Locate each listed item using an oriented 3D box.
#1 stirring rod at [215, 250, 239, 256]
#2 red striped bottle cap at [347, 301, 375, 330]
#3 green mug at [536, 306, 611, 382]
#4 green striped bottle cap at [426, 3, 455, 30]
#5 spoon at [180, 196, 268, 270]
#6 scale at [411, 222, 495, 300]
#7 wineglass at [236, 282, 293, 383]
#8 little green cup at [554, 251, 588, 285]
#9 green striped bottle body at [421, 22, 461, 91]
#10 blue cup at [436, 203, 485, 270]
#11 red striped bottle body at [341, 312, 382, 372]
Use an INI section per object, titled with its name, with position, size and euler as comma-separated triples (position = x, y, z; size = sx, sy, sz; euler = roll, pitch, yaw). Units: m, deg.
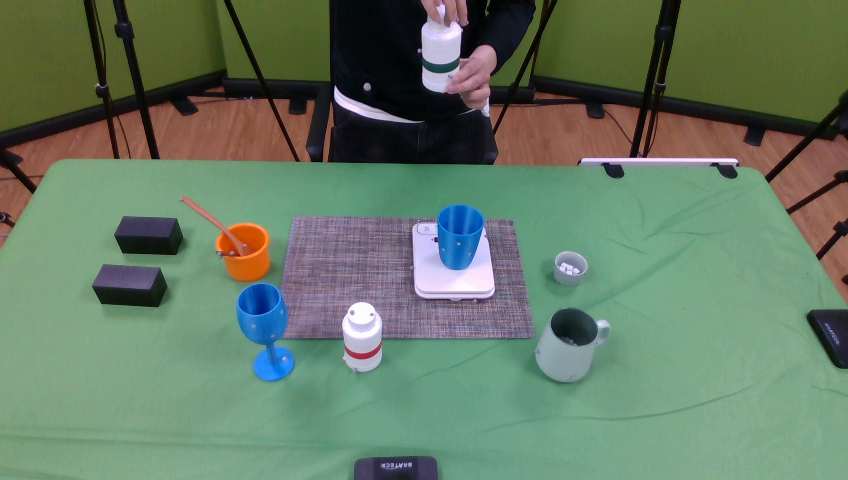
[stirring rod]
position = -0.339, 0.024, 1.059
size = 0.014, 0.176, 0.006
euler = 16, 86, -6
[red striped bottle cap]
position = -0.097, 0.116, 0.934
size = 0.044, 0.018, 0.044
euler = 3, 49, -3
[green mug]
position = 0.250, 0.167, 0.996
size = 0.125, 0.105, 0.092
euler = -15, 49, -18
[green striped bottle cap]
position = 0.026, -0.343, 0.933
size = 0.044, 0.020, 0.044
euler = 6, 57, -9
[spoon]
position = -0.360, -0.014, 1.094
size = 0.021, 0.194, 0.041
euler = -27, 26, 31
[scale]
position = 0.052, 0.031, 1.158
size = 0.149, 0.032, 0.199
euler = 1, 46, -4
[wineglass]
position = -0.243, 0.143, 0.934
size = 0.074, 0.173, 0.073
euler = 2, 46, -2
[little green cup]
position = 0.277, 0.055, 1.151
size = 0.061, 0.039, 0.061
euler = 1, 46, -1
[green striped bottle body]
position = 0.027, -0.306, 0.975
size = 0.063, 0.120, 0.063
euler = 0, 49, 0
[blue cup]
position = 0.062, -0.001, 1.099
size = 0.093, 0.101, 0.092
euler = 2, 44, -2
[red striped bottle body]
position = -0.100, 0.154, 0.972
size = 0.063, 0.120, 0.062
euler = 2, 46, -2
